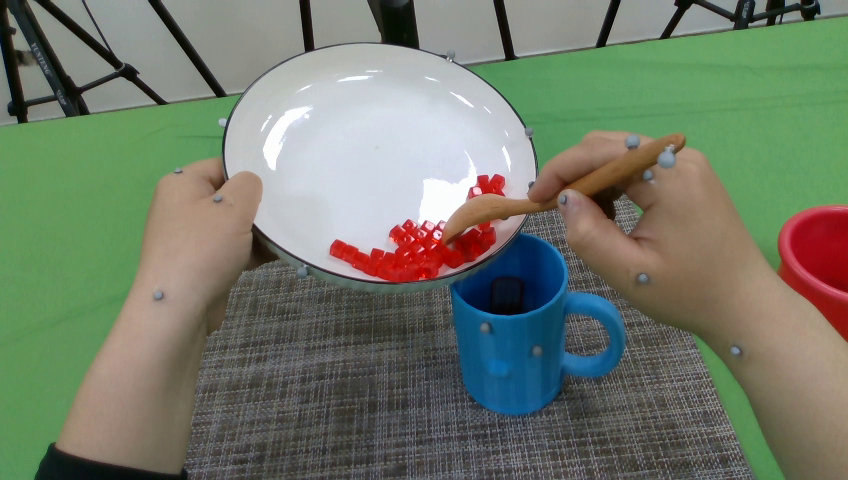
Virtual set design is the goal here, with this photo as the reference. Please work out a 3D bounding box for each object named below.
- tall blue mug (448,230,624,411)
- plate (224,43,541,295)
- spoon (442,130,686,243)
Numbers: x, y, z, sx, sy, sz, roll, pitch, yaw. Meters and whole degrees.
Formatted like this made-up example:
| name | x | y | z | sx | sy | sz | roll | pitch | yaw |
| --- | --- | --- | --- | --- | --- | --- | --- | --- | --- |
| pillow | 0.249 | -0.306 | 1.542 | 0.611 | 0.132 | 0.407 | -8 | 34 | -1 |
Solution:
| name | x | y | z | sx | sy | sz | roll | pitch | yaw |
| --- | --- | --- | --- | --- | --- | --- | --- | --- | --- |
| tall blue mug | 0.074 | 0.054 | 0.419 | 0.107 | 0.109 | 0.077 | -11 | 43 | -2 |
| plate | -0.025 | -0.051 | 0.413 | 0.208 | 0.039 | 0.205 | 5 | 57 | -7 |
| spoon | 0.060 | -0.023 | 0.315 | 0.041 | 0.022 | 0.193 | -39 | 11 | -26 |
